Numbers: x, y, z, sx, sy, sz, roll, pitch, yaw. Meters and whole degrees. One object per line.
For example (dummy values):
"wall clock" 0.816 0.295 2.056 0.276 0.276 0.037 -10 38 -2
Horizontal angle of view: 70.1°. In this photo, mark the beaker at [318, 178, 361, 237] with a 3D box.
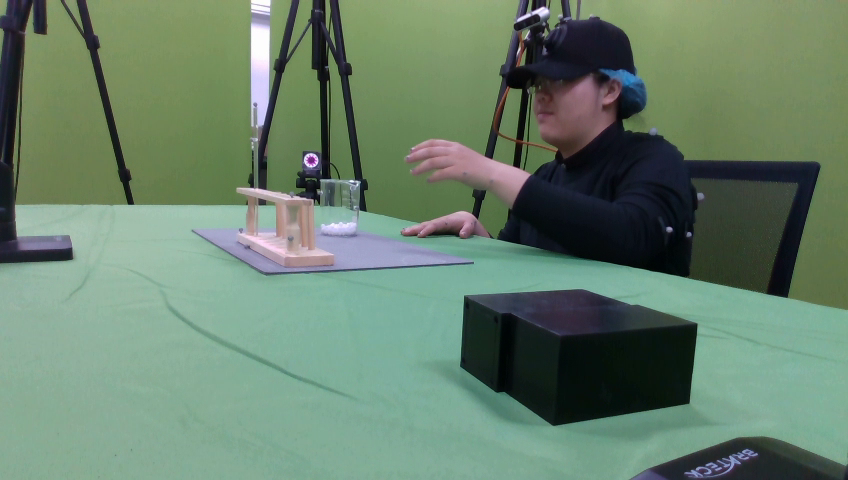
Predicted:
"beaker" -0.150 -0.059 1.087 0.083 0.100 0.074 10 11 40

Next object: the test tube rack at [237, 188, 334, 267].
"test tube rack" -0.202 -0.024 0.855 0.067 0.085 0.241 -2 8 -30

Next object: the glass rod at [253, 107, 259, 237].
"glass rod" -0.253 -0.101 0.912 0.008 0.199 0.008 1 4 0
